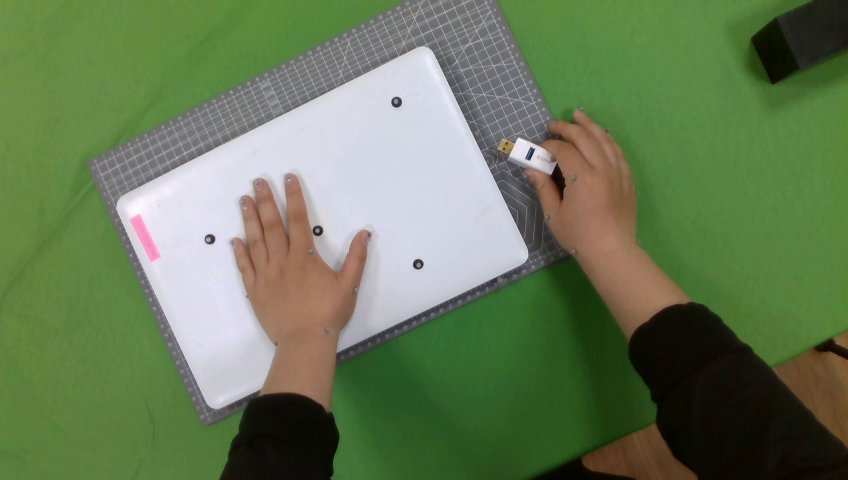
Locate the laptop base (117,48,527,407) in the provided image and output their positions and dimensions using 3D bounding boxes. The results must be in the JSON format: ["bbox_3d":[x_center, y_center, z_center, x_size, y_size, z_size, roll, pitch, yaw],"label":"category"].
[{"bbox_3d":[-0.105,-0.011,0.604,0.354,0.023,0.235,-26,91,3],"label":"laptop base"}]

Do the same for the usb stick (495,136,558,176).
[{"bbox_3d":[0.097,-0.083,0.582,0.059,0.027,0.021,24,91,7],"label":"usb stick"}]

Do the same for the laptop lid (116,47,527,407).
[{"bbox_3d":[-0.104,-0.009,0.594,0.357,0.013,0.241,-24,90,4],"label":"laptop lid"}]
